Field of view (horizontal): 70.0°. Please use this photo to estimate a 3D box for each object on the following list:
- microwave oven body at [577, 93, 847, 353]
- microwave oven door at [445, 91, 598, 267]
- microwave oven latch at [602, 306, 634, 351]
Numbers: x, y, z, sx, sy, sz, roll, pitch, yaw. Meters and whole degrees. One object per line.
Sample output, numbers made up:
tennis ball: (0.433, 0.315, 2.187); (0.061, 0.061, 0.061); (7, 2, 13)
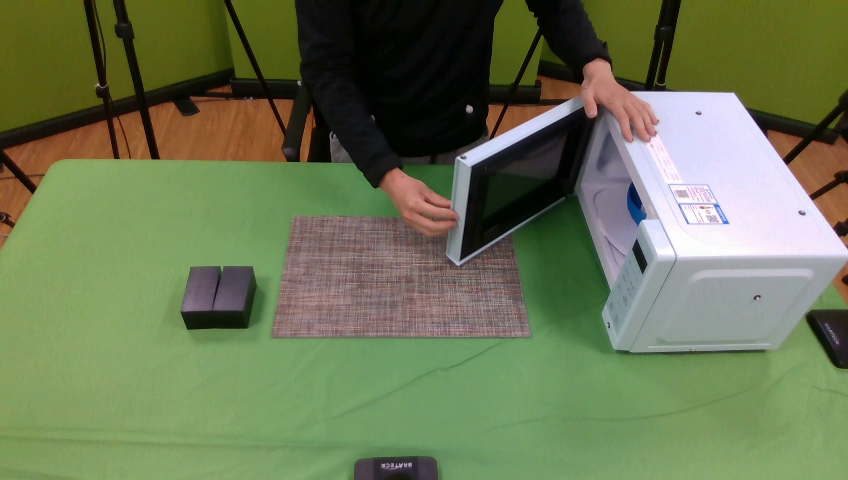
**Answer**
microwave oven body: (0.475, -0.041, 1.109); (0.326, 0.261, 0.438); (-1, 45, -4)
microwave oven door: (0.190, -0.121, 1.157); (0.356, 0.245, 0.039); (-31, 55, -29)
microwave oven latch: (0.332, 0.153, 1.044); (0.030, 0.029, 0.078); (0, 45, -3)
